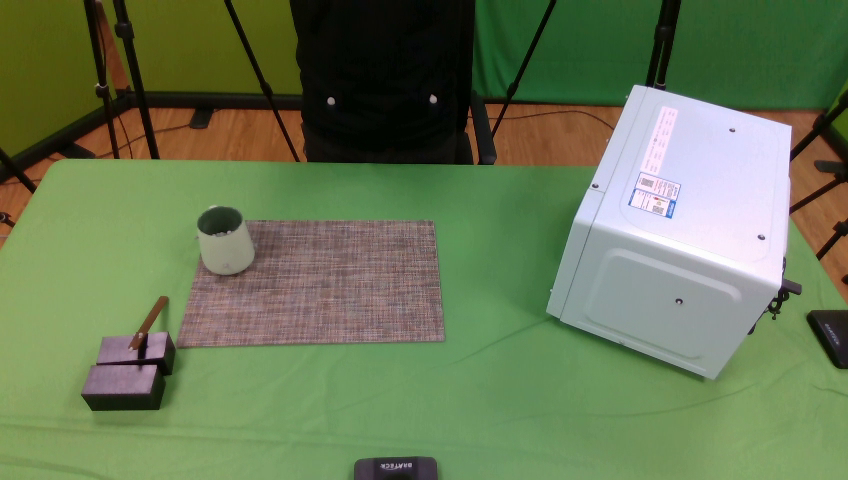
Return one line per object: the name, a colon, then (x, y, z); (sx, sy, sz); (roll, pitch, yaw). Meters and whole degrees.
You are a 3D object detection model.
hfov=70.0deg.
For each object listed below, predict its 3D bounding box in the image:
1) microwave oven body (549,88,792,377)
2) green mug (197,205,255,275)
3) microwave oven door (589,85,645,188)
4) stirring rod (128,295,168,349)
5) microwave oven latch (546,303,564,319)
microwave oven body: (0.456, -0.028, 1.088); (0.325, 0.261, 0.440); (20, 47, 16)
green mug: (-0.370, -0.008, 1.114); (0.092, 0.105, 0.124); (-19, 50, -20)
microwave oven door: (0.342, -0.107, 1.149); (0.039, 0.245, 0.354); (20, 48, 15)
stirring rod: (-0.451, 0.131, 0.996); (0.014, 0.006, 0.175); (8, 21, -10)
microwave oven latch: (0.242, 0.102, 1.081); (0.030, 0.029, 0.079); (21, 48, 17)
